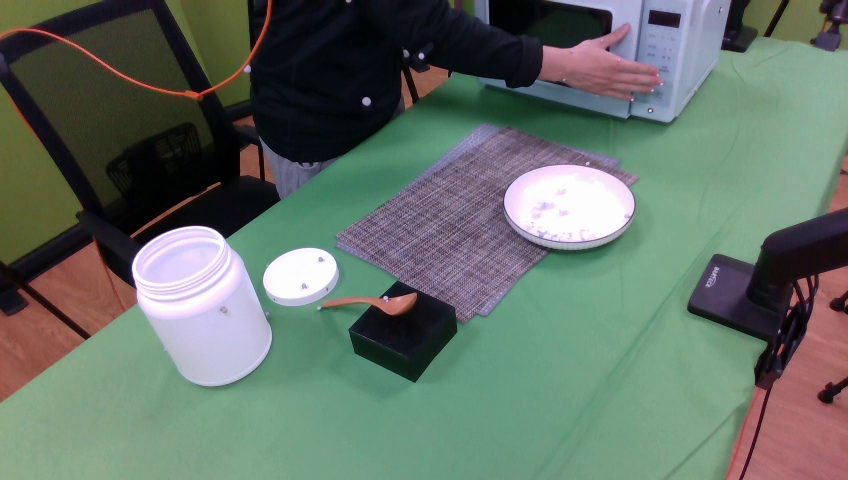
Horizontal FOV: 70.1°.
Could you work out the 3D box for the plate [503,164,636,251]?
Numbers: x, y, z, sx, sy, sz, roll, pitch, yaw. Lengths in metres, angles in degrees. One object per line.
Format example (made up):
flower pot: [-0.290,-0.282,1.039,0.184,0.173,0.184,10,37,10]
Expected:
plate: [0.232,-0.050,0.976,0.209,0.038,0.208,-3,41,3]

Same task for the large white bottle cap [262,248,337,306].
large white bottle cap: [-0.193,0.056,0.934,0.115,0.018,0.114,-5,41,4]

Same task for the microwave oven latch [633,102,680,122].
microwave oven latch: [0.445,-0.250,1.158,0.078,0.029,0.030,23,50,32]

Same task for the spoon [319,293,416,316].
spoon: [-0.082,0.086,0.826,0.192,0.022,0.041,-3,37,41]

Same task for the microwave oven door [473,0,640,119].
microwave oven door: [0.252,-0.391,1.194,0.353,0.245,0.039,24,49,31]

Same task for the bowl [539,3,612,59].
bowl: [0.323,-0.441,1.298,0.151,0.077,0.150,-4,42,4]

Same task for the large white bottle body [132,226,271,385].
large white bottle body: [-0.285,0.084,0.784,0.130,0.185,0.130,-4,41,4]

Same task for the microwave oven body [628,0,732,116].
microwave oven body: [0.377,-0.463,1.267,0.438,0.261,0.327,21,49,30]
